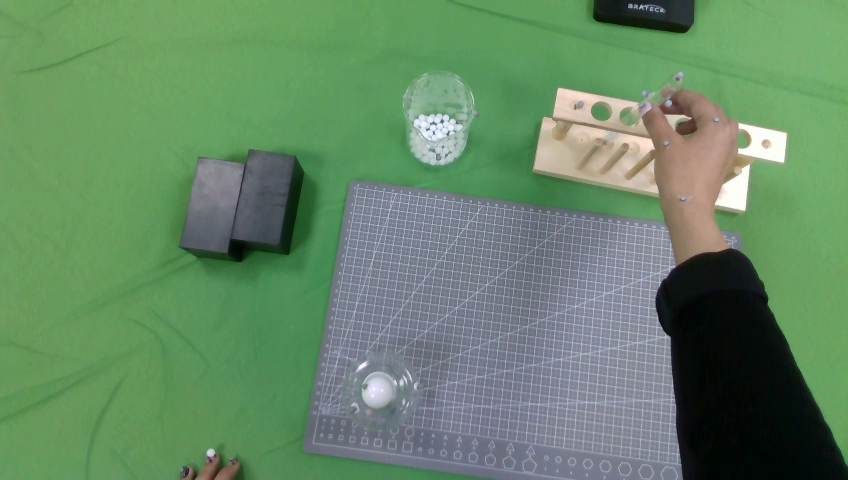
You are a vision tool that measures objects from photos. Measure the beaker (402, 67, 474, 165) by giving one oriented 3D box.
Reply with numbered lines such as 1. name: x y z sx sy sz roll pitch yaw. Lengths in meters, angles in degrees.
1. beaker: 0.013 -0.127 0.660 0.074 0.100 0.083 11 78 1

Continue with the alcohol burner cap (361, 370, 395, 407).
1. alcohol burner cap: -0.043 0.138 0.557 0.034 0.048 0.034 0 83 -1

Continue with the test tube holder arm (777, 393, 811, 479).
1. test tube holder arm: 0.377 0.248 0.630 0.013 0.015 0.178 25 78 -27

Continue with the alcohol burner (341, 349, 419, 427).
1. alcohol burner: -0.043 0.144 0.592 0.078 0.119 0.077 1 77 -3

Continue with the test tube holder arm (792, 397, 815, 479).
1. test tube holder arm: 0.397 0.208 0.641 0.010 0.015 0.087 26 78 -27

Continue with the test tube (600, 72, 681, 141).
1. test tube: 0.217 -0.132 0.622 0.017 0.150 0.017 1 79 -7

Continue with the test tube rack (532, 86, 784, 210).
1. test tube rack: 0.250 -0.098 0.667 0.242 0.085 0.066 11 78 1
